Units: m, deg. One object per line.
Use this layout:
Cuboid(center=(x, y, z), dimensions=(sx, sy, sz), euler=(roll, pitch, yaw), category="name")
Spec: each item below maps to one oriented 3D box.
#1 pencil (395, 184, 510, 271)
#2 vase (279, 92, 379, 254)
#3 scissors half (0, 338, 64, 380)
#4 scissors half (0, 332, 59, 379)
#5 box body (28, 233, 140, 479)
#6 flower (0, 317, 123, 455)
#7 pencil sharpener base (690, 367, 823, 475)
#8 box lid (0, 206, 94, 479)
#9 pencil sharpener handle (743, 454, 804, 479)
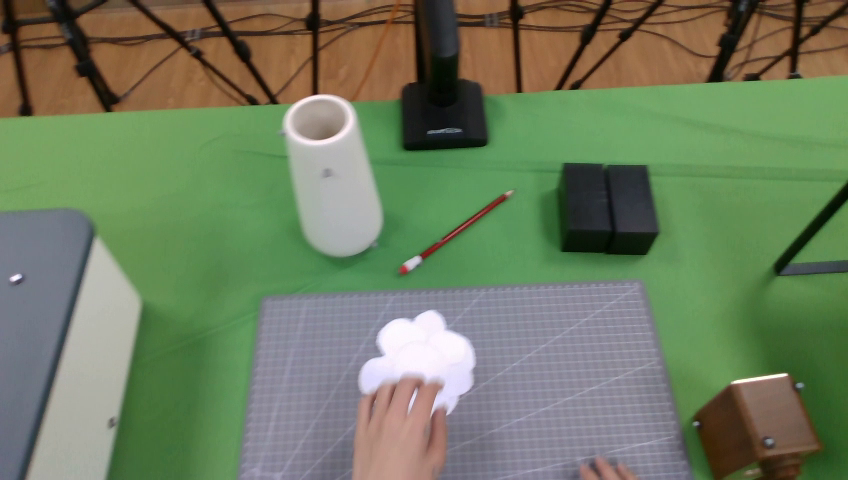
Cuboid(center=(0.040, -0.020, 0.757), dimensions=(0.194, 0.012, 0.012), euler=(-37, 64, -22), category="pencil")
Cuboid(center=(-0.106, -0.069, 0.678), dimensions=(0.098, 0.202, 0.097), euler=(-1, 57, 2), category="vase")
Cuboid(center=(-0.476, 0.148, 0.640), dimensions=(0.175, 0.040, 0.012), euler=(-26, 29, -17), category="scissors half")
Cuboid(center=(-0.471, 0.160, 0.647), dimensions=(0.175, 0.040, 0.012), euler=(-35, 25, -11), category="scissors half")
Cuboid(center=(-0.435, 0.168, 0.555), dimensions=(0.254, 0.162, 0.360), euler=(-4, 58, -1), category="box body")
Cuboid(center=(-0.432, 0.208, 0.629), dimensions=(0.038, 0.044, 0.359), euler=(-14, 31, 30), category="flower")
Cuboid(center=(0.309, 0.176, 0.572), dimensions=(0.061, 0.108, 0.076), euler=(-7, 58, -3), category="pencil sharpener base")
Cuboid(center=(-0.437, 0.125, 0.492), dimensions=(0.263, 0.015, 0.368), euler=(-3, 58, -3), category="box lid")
Cuboid(center=(0.311, 0.213, 0.535), dimensions=(0.036, 0.068, 0.030), euler=(1, 57, -15), category="pencil sharpener handle")
